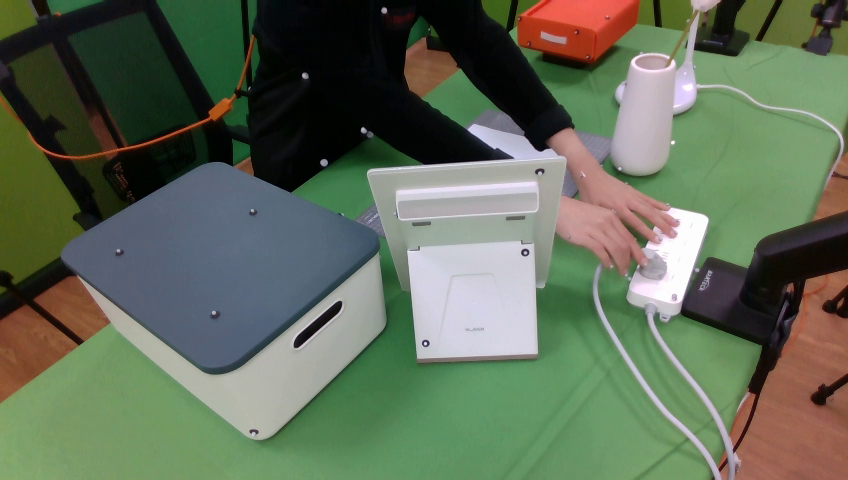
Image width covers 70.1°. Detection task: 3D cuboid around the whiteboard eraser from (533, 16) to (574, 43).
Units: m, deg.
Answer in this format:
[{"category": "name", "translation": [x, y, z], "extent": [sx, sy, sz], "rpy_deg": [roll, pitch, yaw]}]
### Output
[{"category": "whiteboard eraser", "translation": [0.305, -0.493, 1.422], "extent": [0.055, 0.042, 0.113], "rpy_deg": [27, 43, 25]}]

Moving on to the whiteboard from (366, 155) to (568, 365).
[{"category": "whiteboard", "translation": [0.059, 0.049, 0.738], "extent": [0.217, 0.307, 0.143], "rpy_deg": [-3, 60, 5]}]

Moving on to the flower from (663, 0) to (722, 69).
[{"category": "flower", "translation": [0.379, -0.261, 0.965], "extent": [0.044, 0.362, 0.038], "rpy_deg": [21, 53, 5]}]

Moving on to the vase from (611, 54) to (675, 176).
[{"category": "vase", "translation": [0.377, -0.209, 1.031], "extent": [0.098, 0.201, 0.097], "rpy_deg": [-3, 40, 3]}]

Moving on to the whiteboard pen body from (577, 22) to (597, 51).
[{"category": "whiteboard pen body", "translation": [0.373, -0.468, 1.390], "extent": [0.017, 0.017, 0.141], "rpy_deg": [14, 47, 23]}]

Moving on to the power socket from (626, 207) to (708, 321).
[{"category": "power socket", "translation": [0.359, 0.025, 0.886], "extent": [0.072, 0.033, 0.227], "rpy_deg": [17, 46, 26]}]

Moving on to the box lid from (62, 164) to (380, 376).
[{"category": "box lid", "translation": [-0.263, 0.012, 0.774], "extent": [0.368, 0.015, 0.264], "rpy_deg": [23, 49, 32]}]

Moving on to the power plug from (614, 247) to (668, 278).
[{"category": "power plug", "translation": [0.306, 0.031, 0.851], "extent": [0.072, 0.053, 0.035], "rpy_deg": [24, 49, 34]}]

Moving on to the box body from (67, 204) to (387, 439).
[{"category": "box body", "translation": [-0.257, 0.068, 0.824], "extent": [0.361, 0.161, 0.255], "rpy_deg": [24, 49, 31]}]

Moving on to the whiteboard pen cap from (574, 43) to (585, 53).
[{"category": "whiteboard pen cap", "translation": [0.347, -0.430, 1.350], "extent": [0.018, 0.018, 0.033], "rpy_deg": [16, 39, 25]}]

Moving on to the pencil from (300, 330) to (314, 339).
[{"category": "pencil", "translation": [-0.203, 0.118, 0.877], "extent": [0.192, 0.012, 0.012], "rpy_deg": [19, 46, 39]}]

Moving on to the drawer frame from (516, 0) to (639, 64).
[{"category": "drawer frame", "translation": [0.356, -0.507, 1.410], "extent": [0.200, 0.083, 0.214], "rpy_deg": [25, 51, 32]}]

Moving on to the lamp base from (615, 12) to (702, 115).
[{"category": "lamp base", "translation": [0.484, -0.363, 1.211], "extent": [0.180, 0.181, 0.159], "rpy_deg": [-15, 41, -14]}]

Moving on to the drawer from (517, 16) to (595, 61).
[{"category": "drawer", "translation": [0.353, -0.505, 1.404], "extent": [0.193, 0.073, 0.212], "rpy_deg": [25, 50, 33]}]
